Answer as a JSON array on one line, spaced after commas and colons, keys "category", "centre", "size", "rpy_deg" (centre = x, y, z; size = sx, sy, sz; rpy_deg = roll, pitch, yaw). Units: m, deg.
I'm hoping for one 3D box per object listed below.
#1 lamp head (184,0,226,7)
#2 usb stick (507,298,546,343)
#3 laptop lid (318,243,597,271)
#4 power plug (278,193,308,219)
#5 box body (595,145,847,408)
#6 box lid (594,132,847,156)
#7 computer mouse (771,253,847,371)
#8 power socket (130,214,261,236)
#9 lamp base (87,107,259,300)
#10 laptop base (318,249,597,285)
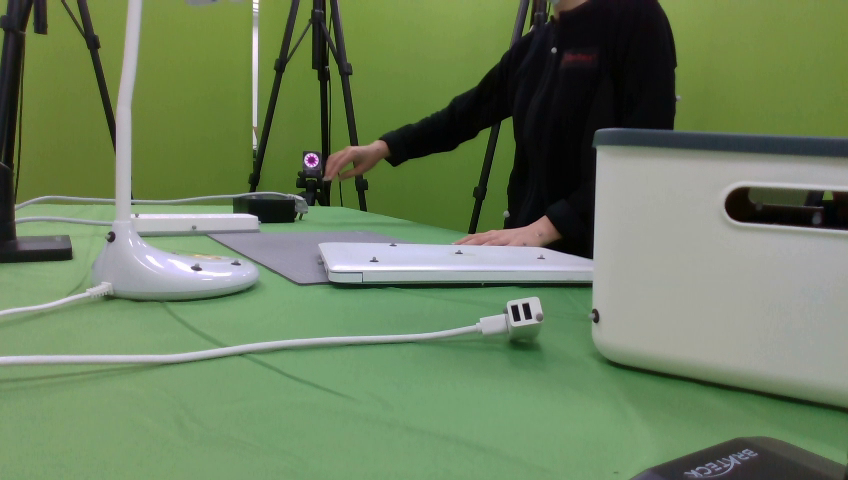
[{"category": "lamp head", "centre": [-0.229, -0.320, 0.627], "size": [0.112, 0.112, 0.123], "rpy_deg": [6, -35, 26]}, {"category": "usb stick", "centre": [0.079, 0.065, 0.470], "size": [0.027, 0.021, 0.059], "rpy_deg": [-12, -24, 4]}, {"category": "laptop lid", "centre": [0.046, 0.022, 0.789], "size": [0.358, 0.013, 0.241], "rpy_deg": [1, 6, -12]}, {"category": "power plug", "centre": [-0.293, -0.076, 1.344], "size": [0.073, 0.052, 0.035], "rpy_deg": [17, 16, -16]}, {"category": "box body", "centre": [0.309, 0.006, 0.510], "size": [0.253, 0.160, 0.366], "rpy_deg": [6, 8, 29]}, {"category": "box lid", "centre": [0.310, -0.066, 0.499], "size": [0.262, 0.015, 0.373], "rpy_deg": [7, 8, 29]}, {"category": "computer mouse", "centre": [0.344, 0.057, 0.518], "size": [0.063, 0.041, 0.117], "rpy_deg": [13, 48, 3]}, {"category": "power socket", "centre": [-0.397, -0.028, 1.048], "size": [0.228, 0.032, 0.072], "rpy_deg": [-3, 8, -35]}, {"category": "lamp base", "centre": [-0.254, -0.039, 0.603], "size": [0.160, 0.180, 0.179], "rpy_deg": [4, 10, 18]}, {"category": "laptop base", "centre": [0.046, 0.034, 0.789], "size": [0.355, 0.023, 0.235], "rpy_deg": [1, 4, -14]}]
